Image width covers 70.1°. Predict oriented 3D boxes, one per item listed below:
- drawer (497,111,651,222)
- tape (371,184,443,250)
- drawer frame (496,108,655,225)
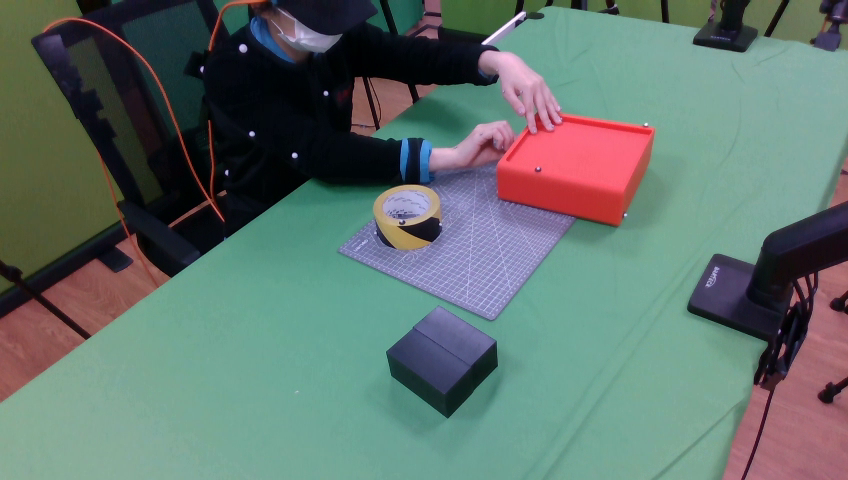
[{"bbox_3d":[0.257,-0.131,1.034,0.210,0.073,0.195,16,45,24],"label":"drawer"},{"bbox_3d":[-0.028,-0.039,0.990,0.117,0.053,0.116,-4,40,4],"label":"tape"},{"bbox_3d":[0.259,-0.132,1.034,0.212,0.083,0.202,16,45,24],"label":"drawer frame"}]
